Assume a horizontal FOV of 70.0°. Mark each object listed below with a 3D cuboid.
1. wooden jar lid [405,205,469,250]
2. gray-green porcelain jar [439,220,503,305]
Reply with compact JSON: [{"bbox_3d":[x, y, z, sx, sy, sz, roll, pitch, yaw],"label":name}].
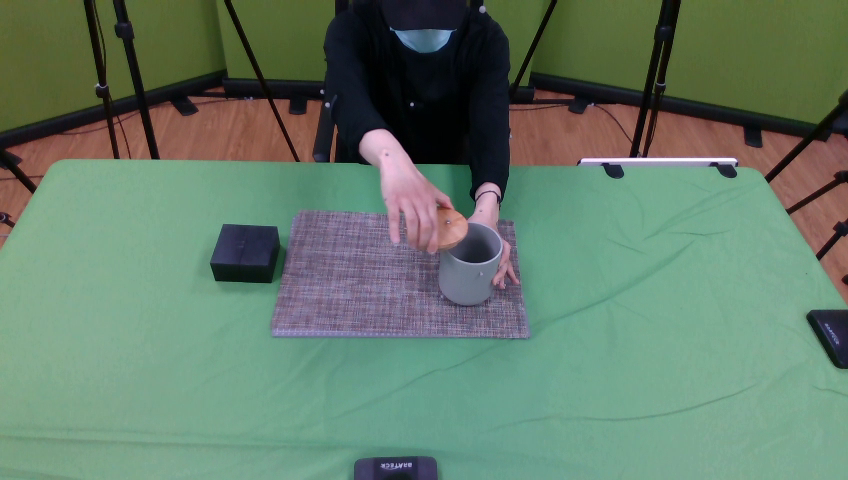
[{"bbox_3d":[0.021,-0.019,1.007,0.108,0.021,0.107,0,39,1],"label":"wooden jar lid"},{"bbox_3d":[0.080,0.046,1.078,0.106,0.127,0.105,2,46,-2],"label":"gray-green porcelain jar"}]
